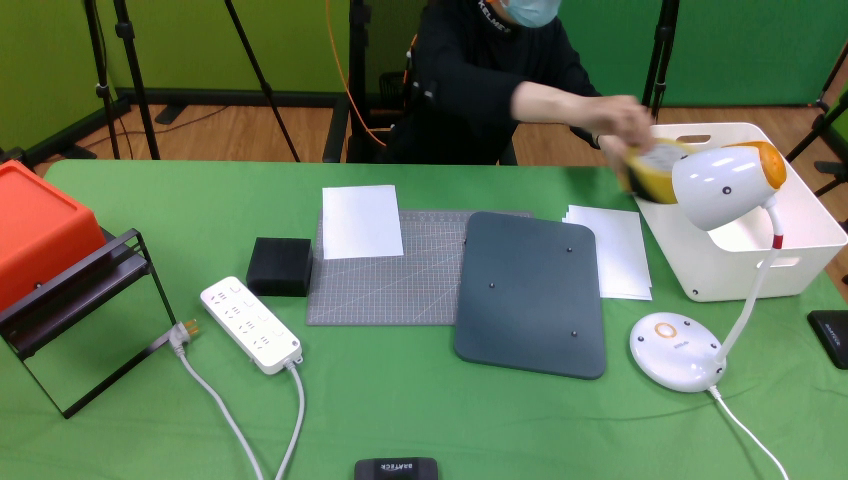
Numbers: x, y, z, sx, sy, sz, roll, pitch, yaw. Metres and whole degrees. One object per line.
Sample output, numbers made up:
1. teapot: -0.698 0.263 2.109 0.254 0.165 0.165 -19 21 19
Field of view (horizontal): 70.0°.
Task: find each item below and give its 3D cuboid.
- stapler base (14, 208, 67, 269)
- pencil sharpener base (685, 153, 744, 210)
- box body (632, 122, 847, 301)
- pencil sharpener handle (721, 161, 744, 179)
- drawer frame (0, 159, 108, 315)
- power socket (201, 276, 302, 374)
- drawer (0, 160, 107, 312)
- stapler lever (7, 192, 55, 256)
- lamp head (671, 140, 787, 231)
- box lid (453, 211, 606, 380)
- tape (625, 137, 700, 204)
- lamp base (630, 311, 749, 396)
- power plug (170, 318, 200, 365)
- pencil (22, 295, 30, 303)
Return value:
1. stapler base: -0.578 -0.010 0.903 0.041 0.024 0.130 -30 57 -25
2. pencil sharpener base: 0.620 -0.125 1.293 0.077 0.107 0.061 -8 47 -12
3. box body: 0.594 -0.062 1.203 0.254 0.161 0.361 -4 47 -7
4. pencil sharpener handle: 0.668 -0.148 1.299 0.031 0.068 0.036 -8 78 -12
5. drawer frame: -0.611 0.000 0.863 0.201 0.083 0.213 27 51 20
6. power socket: -0.297 0.141 1.034 0.072 0.033 0.225 -34 58 -30
7. drawer: -0.610 -0.001 0.866 0.194 0.073 0.211 29 52 21
8. stapler lever: -0.575 -0.026 0.885 0.027 0.040 0.117 -31 56 -25
9. lamp head: 0.415 -0.078 0.811 0.113 0.123 0.112 13 70 -37
10. box lid: 0.200 0.085 1.138 0.263 0.015 0.369 8 47 3
11. tape: 0.372 -0.109 0.937 0.117 0.053 0.116 -3 40 2
12. lamp base: 0.447 0.143 0.983 0.161 0.181 0.178 -24 55 -24
13. power plug: -0.392 0.167 1.014 0.052 0.035 0.072 -30 90 -23
14. pencil: -0.591 0.010 0.883 0.012 0.012 0.193 -17 61 -19
